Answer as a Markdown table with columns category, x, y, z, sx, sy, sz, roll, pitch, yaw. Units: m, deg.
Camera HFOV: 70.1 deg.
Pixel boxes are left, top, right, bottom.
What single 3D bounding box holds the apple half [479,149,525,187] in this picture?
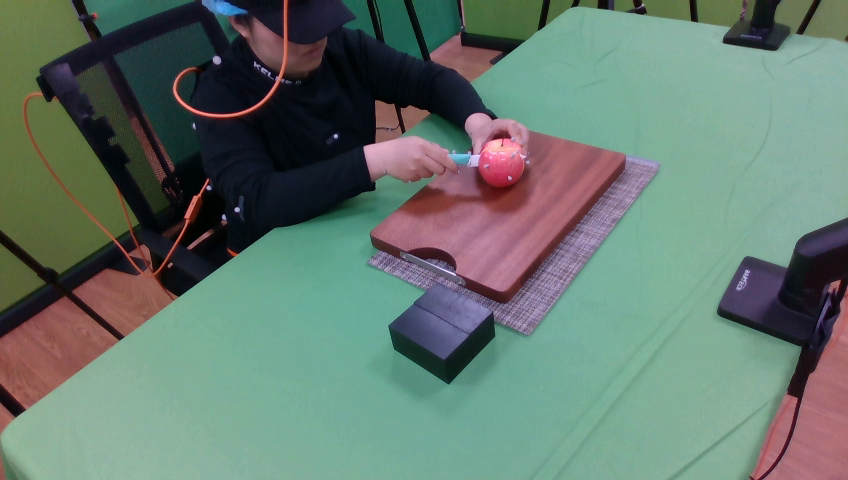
| category | x | y | z | sx | sy | sz | roll | pitch | yaw |
| --- | --- | --- | --- | --- | --- | --- | --- | --- | --- |
| apple half | 0.129 | -0.114 | 1.013 | 0.081 | 0.081 | 0.032 | 2 | 42 | 13 |

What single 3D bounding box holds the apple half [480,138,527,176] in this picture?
| category | x | y | z | sx | sy | sz | roll | pitch | yaw |
| --- | --- | --- | --- | --- | --- | --- | --- | --- | --- |
| apple half | 0.138 | -0.141 | 1.043 | 0.080 | 0.075 | 0.053 | -2 | 36 | 15 |

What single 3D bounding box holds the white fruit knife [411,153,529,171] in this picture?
| category | x | y | z | sx | sy | sz | roll | pitch | yaw |
| --- | --- | --- | --- | --- | --- | --- | --- | --- | --- |
| white fruit knife | 0.075 | -0.137 | 1.028 | 0.206 | 0.027 | 0.016 | -2 | 39 | 16 |
